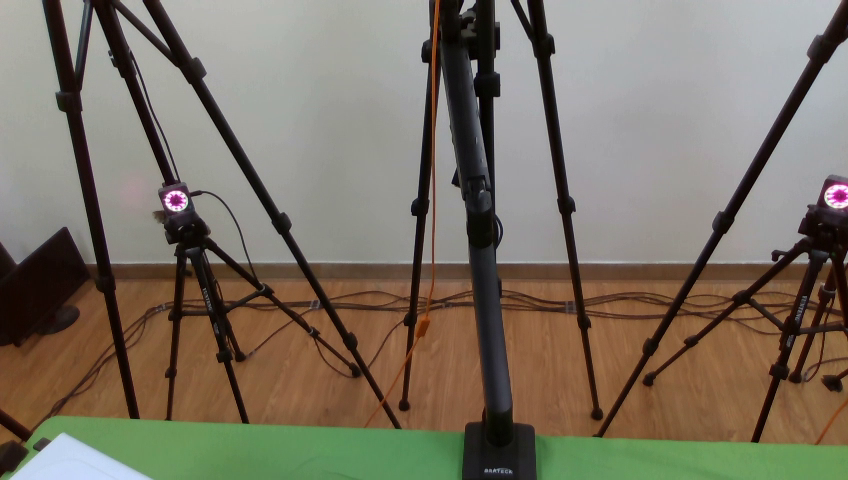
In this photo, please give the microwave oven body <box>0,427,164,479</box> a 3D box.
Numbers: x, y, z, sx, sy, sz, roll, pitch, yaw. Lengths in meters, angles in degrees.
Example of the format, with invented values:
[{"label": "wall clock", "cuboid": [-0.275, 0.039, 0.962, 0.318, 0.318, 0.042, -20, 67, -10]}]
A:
[{"label": "microwave oven body", "cuboid": [-0.452, 0.495, 0.679, 0.324, 0.262, 0.440, 14, 41, 24]}]
